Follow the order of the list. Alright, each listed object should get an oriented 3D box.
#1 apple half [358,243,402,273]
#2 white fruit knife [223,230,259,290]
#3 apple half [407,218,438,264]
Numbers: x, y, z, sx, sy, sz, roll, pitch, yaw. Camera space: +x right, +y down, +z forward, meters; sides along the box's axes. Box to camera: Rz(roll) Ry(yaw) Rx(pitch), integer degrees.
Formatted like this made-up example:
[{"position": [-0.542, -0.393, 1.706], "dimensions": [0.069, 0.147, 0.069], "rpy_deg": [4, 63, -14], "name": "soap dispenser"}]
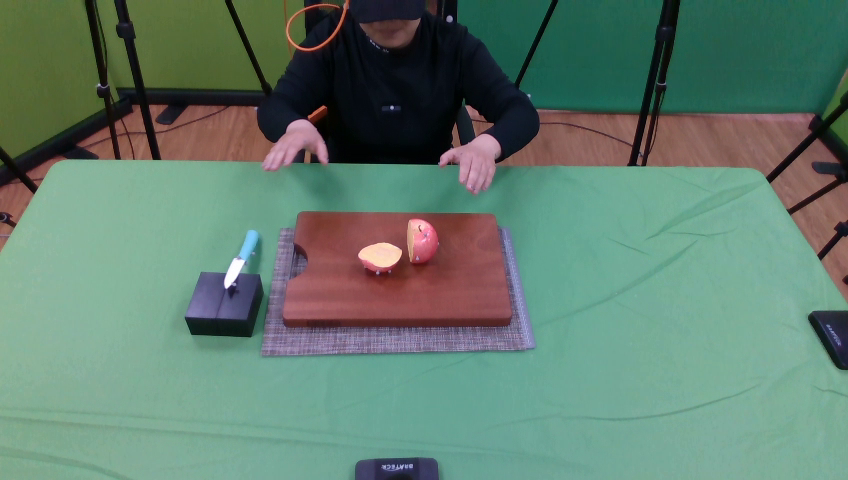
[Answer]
[{"position": [-0.078, 0.038, 1.109], "dimensions": [0.081, 0.033, 0.081], "rpy_deg": [1, 30, 0], "name": "apple half"}, {"position": [-0.333, 0.034, 1.106], "dimensions": [0.027, 0.016, 0.206], "rpy_deg": [1, 29, -2], "name": "white fruit knife"}, {"position": [-0.001, 0.003, 1.120], "dimensions": [0.053, 0.075, 0.080], "rpy_deg": [-1, 42, -11], "name": "apple half"}]
